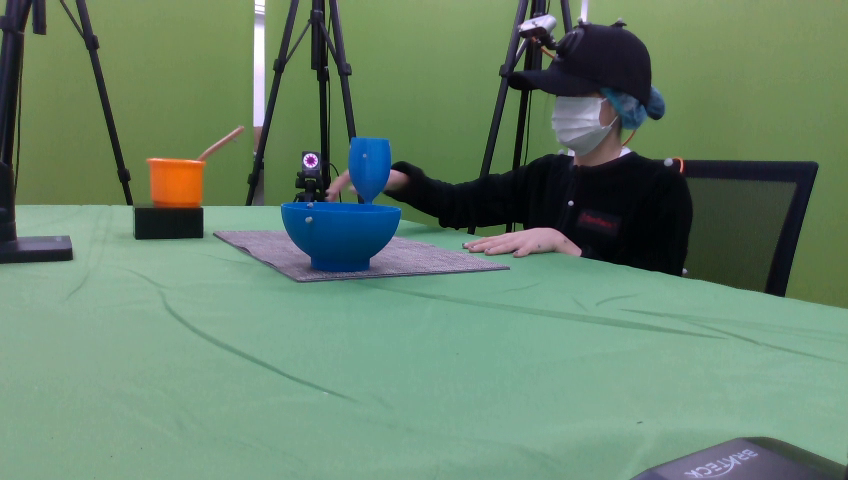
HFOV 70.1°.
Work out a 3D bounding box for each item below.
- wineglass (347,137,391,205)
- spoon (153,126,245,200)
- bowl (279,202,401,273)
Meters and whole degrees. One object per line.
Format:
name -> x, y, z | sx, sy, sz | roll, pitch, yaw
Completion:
wineglass -> -0.093, -0.081, 0.996 | 0.074, 0.172, 0.073 | 3, 7, 0
spoon -> -0.375, -0.131, 1.017 | 0.041, 0.194, 0.022 | 13, -32, 55
bowl -> -0.105, -0.003, 0.756 | 0.151, 0.077, 0.151 | 3, 7, 0
